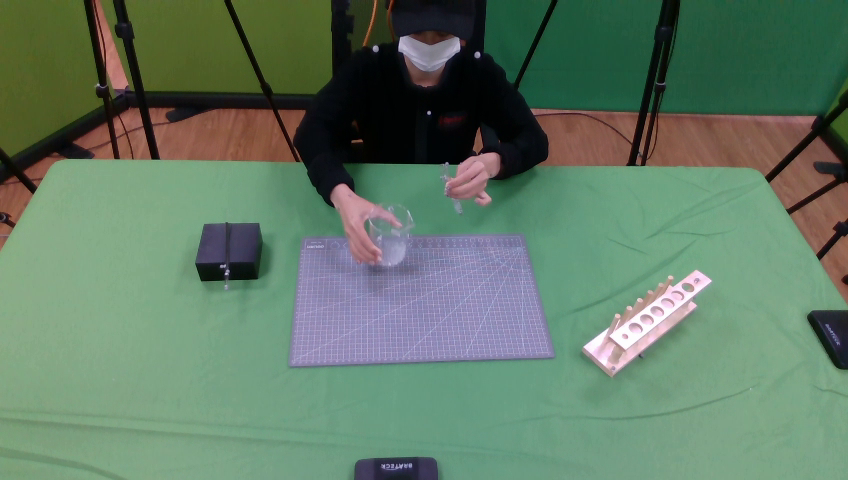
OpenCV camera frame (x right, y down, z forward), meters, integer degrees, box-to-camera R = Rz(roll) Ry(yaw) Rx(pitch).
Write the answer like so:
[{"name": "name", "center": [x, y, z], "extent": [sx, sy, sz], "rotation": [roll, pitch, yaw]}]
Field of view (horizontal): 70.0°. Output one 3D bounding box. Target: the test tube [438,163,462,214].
[{"name": "test tube", "center": [0.049, -0.092, 1.124], "extent": [0.017, 0.151, 0.017], "rotation": [-8, 58, 12]}]

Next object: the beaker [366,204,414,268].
[{"name": "beaker", "center": [-0.062, -0.003, 1.081], "extent": [0.084, 0.101, 0.073], "rotation": [11, 49, 2]}]

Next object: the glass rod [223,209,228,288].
[{"name": "glass rod", "center": [-0.360, 0.010, 1.098], "extent": [0.008, 0.008, 0.198], "rotation": [-7, 47, -12]}]

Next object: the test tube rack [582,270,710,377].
[{"name": "test tube rack", "center": [0.389, 0.132, 1.057], "extent": [0.242, 0.085, 0.066], "rotation": [-28, 54, -28]}]
